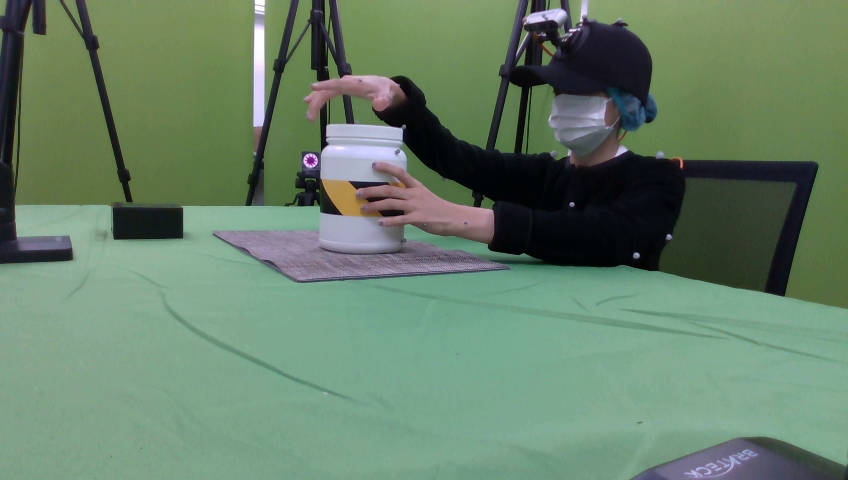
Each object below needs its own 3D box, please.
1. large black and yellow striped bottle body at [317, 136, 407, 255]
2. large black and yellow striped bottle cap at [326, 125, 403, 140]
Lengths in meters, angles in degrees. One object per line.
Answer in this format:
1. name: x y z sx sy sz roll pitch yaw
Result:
1. large black and yellow striped bottle body: -0.093 -0.076 0.915 0.131 0.184 0.130 3 7 0
2. large black and yellow striped bottle cap: -0.089 -0.159 0.904 0.115 0.019 0.115 2 5 0
